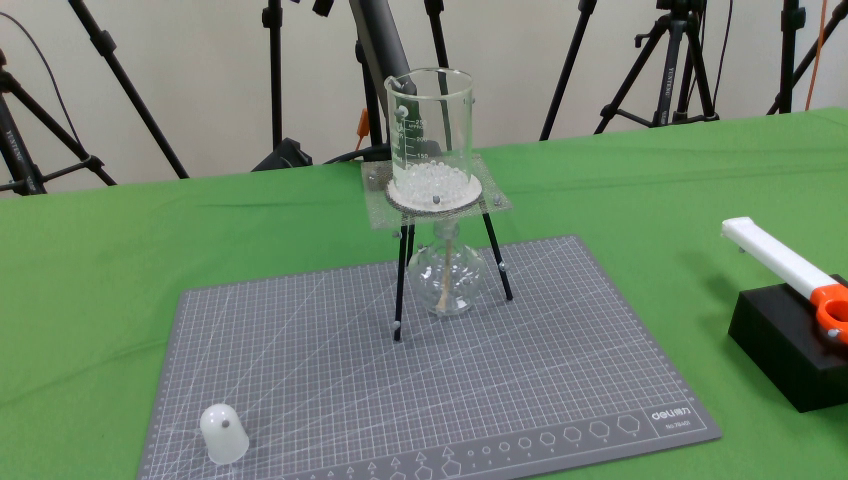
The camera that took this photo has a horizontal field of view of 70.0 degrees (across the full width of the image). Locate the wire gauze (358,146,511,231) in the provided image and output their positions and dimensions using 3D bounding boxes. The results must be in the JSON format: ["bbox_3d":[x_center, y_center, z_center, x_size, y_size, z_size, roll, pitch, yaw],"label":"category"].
[{"bbox_3d":[0.004,-0.054,0.547,0.121,0.011,0.123,-8,37,-7],"label":"wire gauze"}]

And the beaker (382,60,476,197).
[{"bbox_3d":[0.002,-0.095,0.520,0.074,0.101,0.083,-29,43,-35],"label":"beaker"}]

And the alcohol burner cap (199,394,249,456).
[{"bbox_3d":[-0.157,0.141,0.472,0.034,0.048,0.033,-1,35,1],"label":"alcohol burner cap"}]

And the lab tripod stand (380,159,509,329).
[{"bbox_3d":[0.012,-0.002,0.587,0.148,0.132,0.147,-1,33,1],"label":"lab tripod stand"}]

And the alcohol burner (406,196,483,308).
[{"bbox_3d":[0.020,0.007,0.590,0.078,0.120,0.077,-1,36,1],"label":"alcohol burner"}]

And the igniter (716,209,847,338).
[{"bbox_3d":[0.343,0.045,0.513,0.057,0.025,0.273,-9,32,-8],"label":"igniter"}]
